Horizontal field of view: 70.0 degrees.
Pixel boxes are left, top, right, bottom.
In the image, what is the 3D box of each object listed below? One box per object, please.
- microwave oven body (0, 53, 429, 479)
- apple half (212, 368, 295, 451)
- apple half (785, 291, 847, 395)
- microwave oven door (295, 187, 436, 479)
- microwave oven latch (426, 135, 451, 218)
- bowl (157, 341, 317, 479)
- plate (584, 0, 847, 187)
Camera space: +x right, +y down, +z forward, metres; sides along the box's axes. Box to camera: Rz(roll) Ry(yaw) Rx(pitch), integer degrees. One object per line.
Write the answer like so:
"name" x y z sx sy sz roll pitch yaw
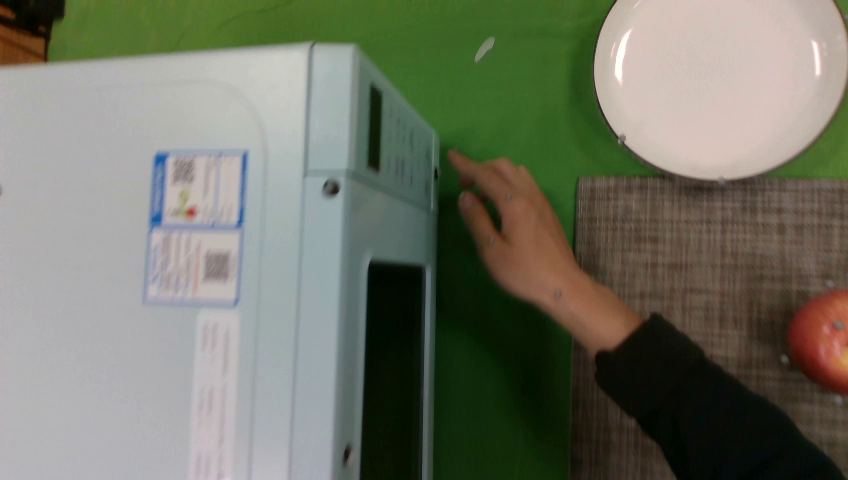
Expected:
"microwave oven body" -0.176 0.108 0.509 0.325 0.261 0.441 0 88 14
"apple half" -0.153 0.155 0.532 0.081 0.033 0.081 1 99 6
"apple half" 0.319 0.084 0.481 0.053 0.075 0.080 -19 86 18
"microwave oven door" -0.036 0.149 0.467 0.039 0.245 0.355 0 87 15
"microwave oven latch" 0.002 -0.060 0.572 0.030 0.029 0.079 -14 85 13
"bowl" -0.151 0.156 0.542 0.151 0.077 0.151 2 97 20
"plate" 0.248 -0.148 0.532 0.207 0.039 0.207 -1 87 14
